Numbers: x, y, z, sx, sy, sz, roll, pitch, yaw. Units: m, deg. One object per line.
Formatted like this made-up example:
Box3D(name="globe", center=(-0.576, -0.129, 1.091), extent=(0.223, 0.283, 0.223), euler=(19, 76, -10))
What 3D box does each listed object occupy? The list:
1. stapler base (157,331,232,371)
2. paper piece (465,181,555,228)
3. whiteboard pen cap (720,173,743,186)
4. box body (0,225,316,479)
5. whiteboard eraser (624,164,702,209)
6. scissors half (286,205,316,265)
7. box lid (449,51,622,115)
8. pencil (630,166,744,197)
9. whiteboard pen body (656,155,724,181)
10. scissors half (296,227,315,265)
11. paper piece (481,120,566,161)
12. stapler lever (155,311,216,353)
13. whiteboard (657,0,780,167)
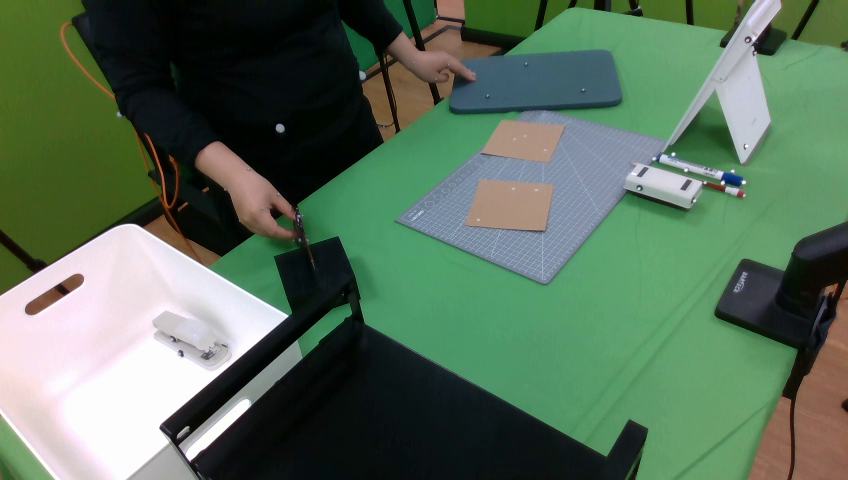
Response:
Box3D(name="stapler base", center=(-0.326, 0.142, 0.849), extent=(0.129, 0.024, 0.041), euler=(18, 44, 32))
Box3D(name="paper piece", center=(0.149, -0.062, 1.034), extent=(0.137, 0.009, 0.136), euler=(4, 37, 17))
Box3D(name="whiteboard pen cap", center=(0.519, -0.103, 1.020), extent=(0.033, 0.018, 0.018), euler=(23, 49, 30))
Box3D(name="box body", center=(-0.339, 0.162, 0.728), extent=(0.361, 0.161, 0.255), euler=(23, 48, 31))
Box3D(name="whiteboard eraser", center=(0.396, -0.086, 1.003), extent=(0.112, 0.042, 0.056), euler=(22, 47, 31))
Box3D(name="scissors half", center=(-0.192, -0.009, 0.945), extent=(0.013, 0.040, 0.173), euler=(-24, 40, -12))
Box3D(name="box lid", center=(0.249, -0.358, 1.370), extent=(0.371, 0.015, 0.262), euler=(-1, 40, 9))
Box3D(name="pencil", center=(0.447, -0.103, 1.038), extent=(0.192, 0.012, 0.012), euler=(21, 48, 29))
Box3D(name="whiteboard pen body", center=(0.475, -0.123, 1.052), extent=(0.139, 0.017, 0.017), euler=(24, 50, 32))
Box3D(name="scissors half", center=(-0.187, 0.007, 0.956), extent=(0.013, 0.040, 0.174), euler=(-28, 24, -8))
Box3D(name="paper piece", center=(0.197, -0.199, 1.188), extent=(0.135, 0.004, 0.135), euler=(11, 44, 21))
Box3D(name="stapler lever", center=(-0.331, 0.122, 0.834), extent=(0.117, 0.040, 0.027), euler=(17, 44, 32))
Box3D(name="whiteboard", center=(0.571, -0.272, 1.038), extent=(0.143, 0.306, 0.218), euler=(36, 54, 17))
